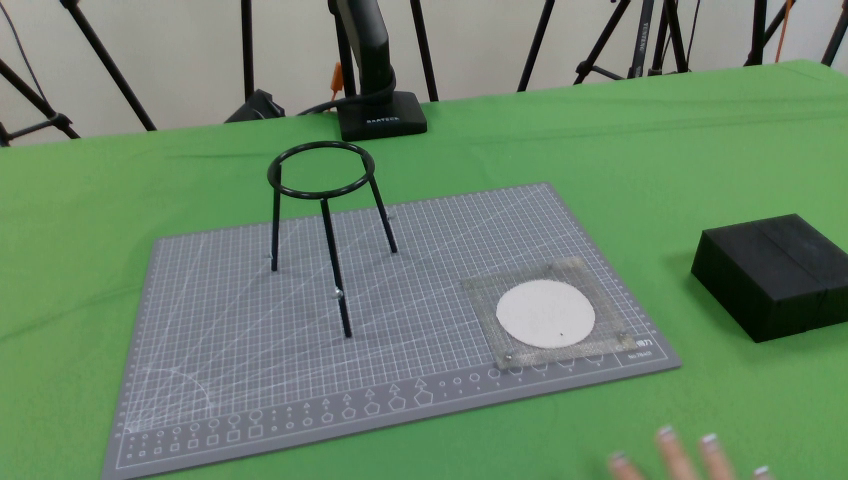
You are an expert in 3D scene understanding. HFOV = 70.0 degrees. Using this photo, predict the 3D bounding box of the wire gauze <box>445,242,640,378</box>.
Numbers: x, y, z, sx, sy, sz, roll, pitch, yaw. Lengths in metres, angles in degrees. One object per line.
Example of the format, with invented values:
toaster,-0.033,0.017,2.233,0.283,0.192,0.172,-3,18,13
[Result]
wire gauze,0.101,0.052,0.528,0.122,0.011,0.123,-20,48,-24

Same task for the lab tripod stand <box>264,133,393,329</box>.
lab tripod stand,-0.085,-0.015,0.544,0.148,0.132,0.147,0,39,0
